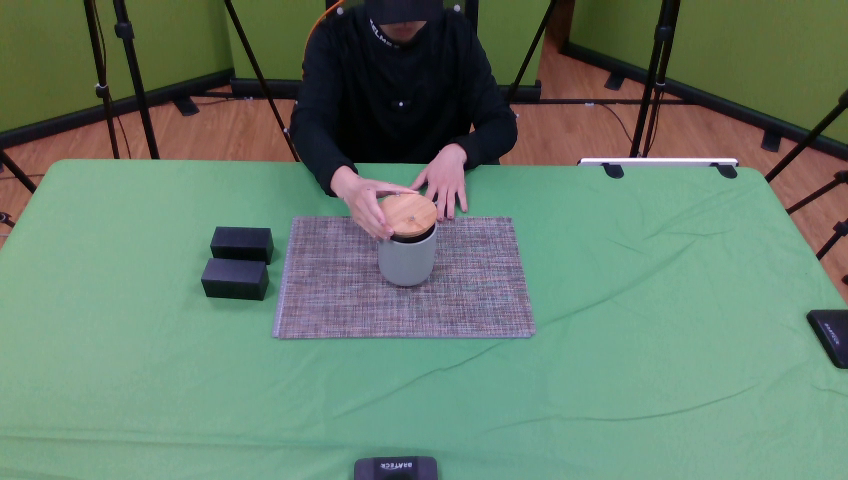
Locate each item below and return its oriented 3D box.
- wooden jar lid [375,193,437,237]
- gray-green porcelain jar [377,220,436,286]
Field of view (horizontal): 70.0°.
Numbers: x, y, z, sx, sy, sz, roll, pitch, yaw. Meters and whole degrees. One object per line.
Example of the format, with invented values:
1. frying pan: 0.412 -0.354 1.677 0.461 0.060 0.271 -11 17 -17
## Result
1. wooden jar lid: -0.032 -0.042 1.053 0.108 0.021 0.107 1 42 -1
2. gray-green porcelain jar: -0.033 0.014 1.106 0.106 0.127 0.105 2 46 -2
